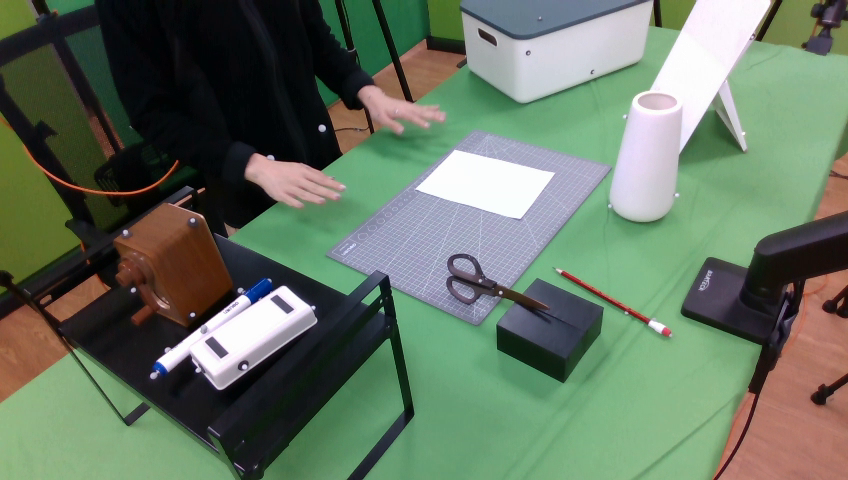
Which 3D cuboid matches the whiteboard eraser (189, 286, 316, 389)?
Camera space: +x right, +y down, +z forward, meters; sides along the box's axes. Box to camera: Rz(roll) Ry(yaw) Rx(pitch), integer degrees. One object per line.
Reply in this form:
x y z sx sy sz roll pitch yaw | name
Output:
-0.166 0.096 0.593 0.113 0.042 0.055 -36 46 -29 | whiteboard eraser

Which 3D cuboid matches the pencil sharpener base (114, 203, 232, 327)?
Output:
-0.262 0.029 0.635 0.061 0.107 0.077 18 47 26 | pencil sharpener base

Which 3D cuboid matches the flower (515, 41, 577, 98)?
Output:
0.298 -0.410 1.413 0.044 0.038 0.362 -16 22 41 | flower

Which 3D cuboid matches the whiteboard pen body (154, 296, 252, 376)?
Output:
-0.215 0.088 0.619 0.017 0.017 0.141 19 42 28 | whiteboard pen body

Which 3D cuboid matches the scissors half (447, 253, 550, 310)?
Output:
0.098 0.058 0.821 0.173 0.040 0.013 27 33 37 | scissors half

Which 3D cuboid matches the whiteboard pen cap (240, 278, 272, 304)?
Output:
-0.183 0.057 0.658 0.018 0.018 0.033 19 44 28 | whiteboard pen cap

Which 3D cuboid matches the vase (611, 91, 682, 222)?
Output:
0.348 -0.125 0.935 0.098 0.201 0.097 -3 40 3 | vase

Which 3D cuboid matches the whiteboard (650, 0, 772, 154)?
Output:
0.543 -0.298 1.076 0.144 0.305 0.216 12 40 -7 | whiteboard

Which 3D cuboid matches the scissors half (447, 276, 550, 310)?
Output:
0.098 0.077 0.827 0.174 0.040 0.013 6 14 44 | scissors half

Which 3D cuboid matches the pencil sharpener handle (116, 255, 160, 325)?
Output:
-0.286 0.050 0.594 0.035 0.068 0.031 7 41 35 | pencil sharpener handle

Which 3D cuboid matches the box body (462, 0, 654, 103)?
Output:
0.298 -0.468 1.374 0.365 0.161 0.252 -23 42 -18 | box body

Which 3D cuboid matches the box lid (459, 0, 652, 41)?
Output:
0.291 -0.524 1.327 0.373 0.015 0.261 -23 43 -18 | box lid

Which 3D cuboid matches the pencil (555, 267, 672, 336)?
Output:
0.260 0.082 0.851 0.012 0.012 0.192 -33 45 -27 | pencil
